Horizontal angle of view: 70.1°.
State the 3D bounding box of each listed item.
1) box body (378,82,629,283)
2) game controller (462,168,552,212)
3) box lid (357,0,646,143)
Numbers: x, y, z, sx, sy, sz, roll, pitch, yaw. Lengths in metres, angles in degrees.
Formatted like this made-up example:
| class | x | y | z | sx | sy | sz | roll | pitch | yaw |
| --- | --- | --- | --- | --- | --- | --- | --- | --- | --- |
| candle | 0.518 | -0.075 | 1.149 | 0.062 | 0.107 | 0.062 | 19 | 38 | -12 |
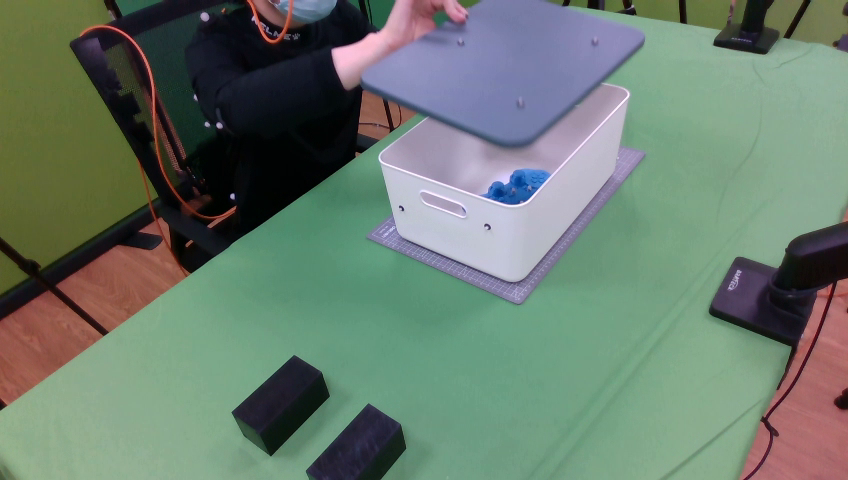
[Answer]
| class | x | y | z | sx | sy | sz | roll | pitch | yaw |
| --- | --- | --- | --- | --- | --- | --- | --- | --- | --- |
| box body | 0.137 | -0.121 | 0.978 | 0.252 | 0.161 | 0.365 | 23 | 49 | 30 |
| game controller | 0.147 | -0.079 | 1.007 | 0.156 | 0.052 | 0.096 | -30 | 50 | -24 |
| box lid | 0.117 | -0.257 | 0.828 | 0.261 | 0.015 | 0.372 | 28 | 50 | 26 |
